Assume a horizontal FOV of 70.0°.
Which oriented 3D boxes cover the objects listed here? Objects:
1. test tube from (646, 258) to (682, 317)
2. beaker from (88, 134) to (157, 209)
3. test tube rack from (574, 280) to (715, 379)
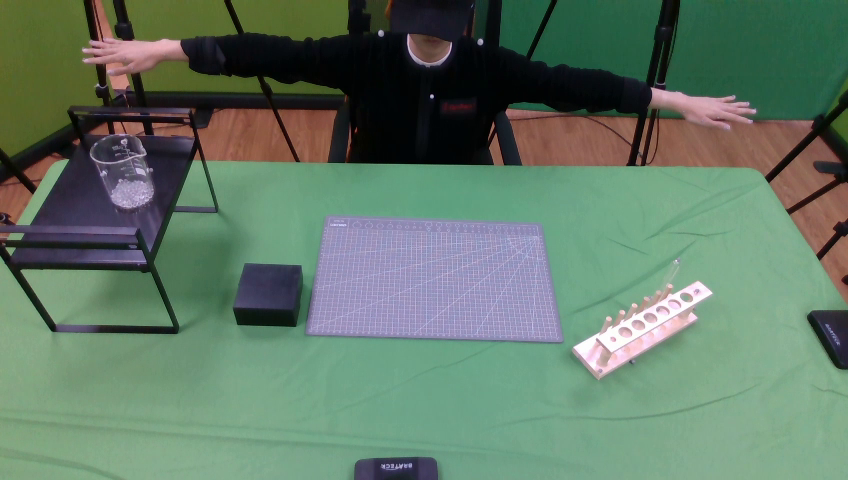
[{"bbox_3d":[0.407,0.082,1.033,0.017,0.151,0.017,2,47,-2],"label":"test tube"},{"bbox_3d":[-0.470,-0.105,0.960,0.084,0.101,0.073,4,46,0],"label":"beaker"},{"bbox_3d":[0.378,0.140,1.038,0.242,0.085,0.066,-22,51,-23],"label":"test tube rack"}]
